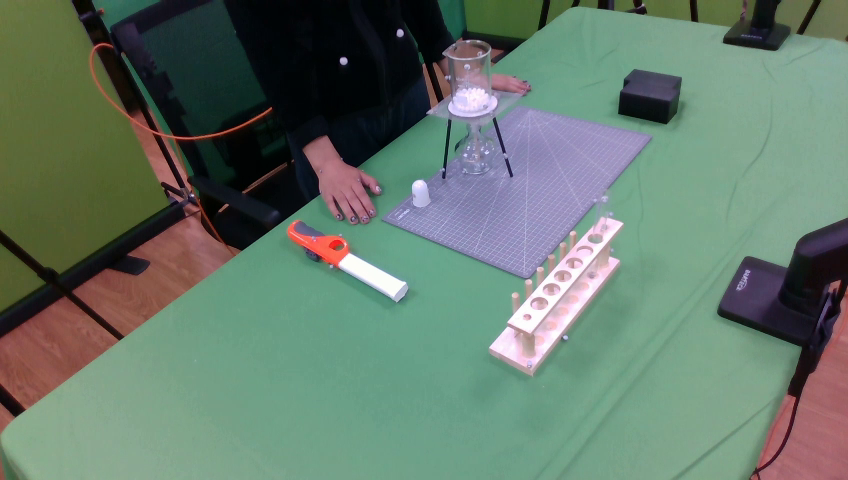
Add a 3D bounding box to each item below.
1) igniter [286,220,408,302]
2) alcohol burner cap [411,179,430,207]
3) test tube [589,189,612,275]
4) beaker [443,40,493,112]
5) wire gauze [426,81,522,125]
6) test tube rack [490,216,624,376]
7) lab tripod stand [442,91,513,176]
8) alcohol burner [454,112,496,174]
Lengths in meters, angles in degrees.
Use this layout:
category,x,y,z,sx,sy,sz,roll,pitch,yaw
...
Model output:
category,x,y,z,sx,sy,sz,roll,pitch,yaw
igniter,-0.134,0.028,0.969,0.274,0.025,0.057,26,61,35
alcohol burner cap,-0.008,-0.085,1.063,0.034,0.048,0.033,-4,40,4
test tube,0.238,-0.007,0.818,0.017,0.151,0.017,-3,43,4
beaker,0.076,-0.275,1.023,0.083,0.101,0.074,5,42,16
wire gauze,0.088,-0.237,1.051,0.120,0.011,0.125,23,47,29
test tube rack,0.184,0.064,0.822,0.066,0.085,0.243,24,50,33
lab tripod stand,0.096,-0.190,1.096,0.148,0.132,0.147,-4,40,4
alcohol burner,0.092,-0.181,1.102,0.078,0.119,0.077,-5,42,5
